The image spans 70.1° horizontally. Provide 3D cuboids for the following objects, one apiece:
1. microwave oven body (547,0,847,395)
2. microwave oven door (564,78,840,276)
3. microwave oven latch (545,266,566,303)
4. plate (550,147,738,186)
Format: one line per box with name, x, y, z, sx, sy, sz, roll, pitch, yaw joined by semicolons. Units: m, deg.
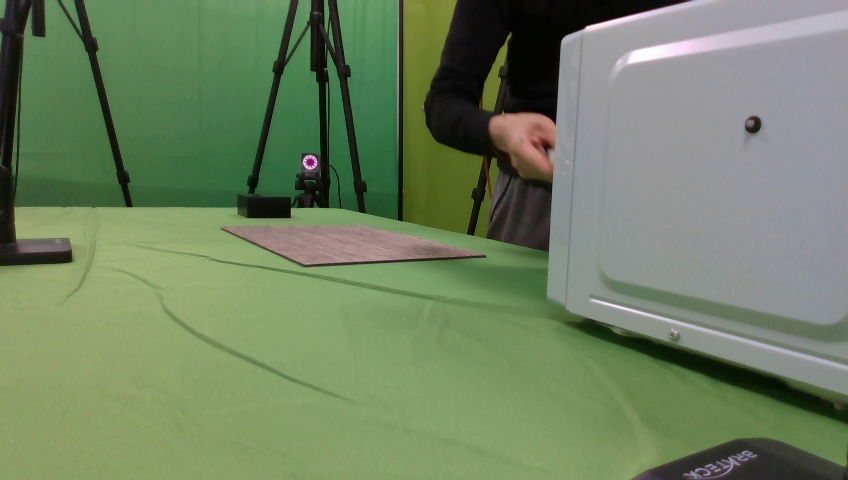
microwave oven body;0.379;-0.046;0.510;0.444;0.260;0.324;-2;7;-31
microwave oven door;0.368;-0.093;0.859;0.354;0.243;0.039;8;9;44
microwave oven latch;0.148;0.039;0.555;0.079;0.029;0.030;-1;7;-28
plate;0.252;-0.085;0.712;0.209;0.038;0.209;2;7;0
